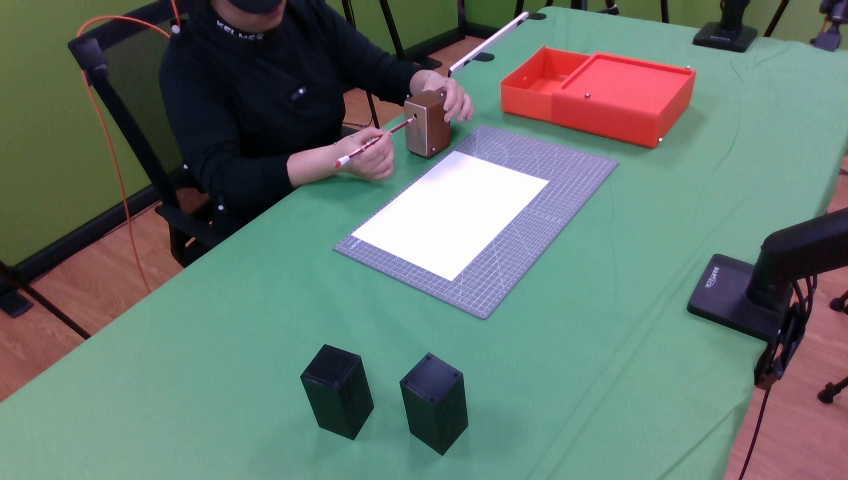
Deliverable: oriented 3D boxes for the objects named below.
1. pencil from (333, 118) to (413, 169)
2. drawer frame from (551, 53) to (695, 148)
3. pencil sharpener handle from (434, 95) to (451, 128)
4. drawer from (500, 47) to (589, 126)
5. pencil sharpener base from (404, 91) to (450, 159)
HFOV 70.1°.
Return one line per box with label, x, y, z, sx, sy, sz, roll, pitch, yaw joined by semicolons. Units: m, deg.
pencil;-0.086;-0.174;1.070;0.012;0.012;0.195;28;52;35
drawer frame;0.390;-0.281;1.196;0.212;0.083;0.202;22;48;29
pencil sharpener handle;0.041;-0.255;1.187;0.035;0.068;0.031;29;45;30
drawer;0.295;-0.316;1.255;0.210;0.073;0.195;22;47;29
pencil sharpener base;0.008;-0.222;1.162;0.061;0.107;0.077;25;43;34
